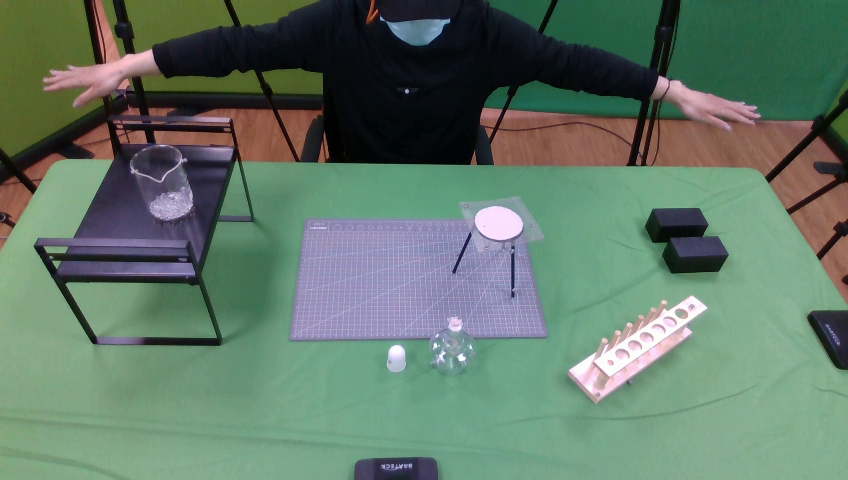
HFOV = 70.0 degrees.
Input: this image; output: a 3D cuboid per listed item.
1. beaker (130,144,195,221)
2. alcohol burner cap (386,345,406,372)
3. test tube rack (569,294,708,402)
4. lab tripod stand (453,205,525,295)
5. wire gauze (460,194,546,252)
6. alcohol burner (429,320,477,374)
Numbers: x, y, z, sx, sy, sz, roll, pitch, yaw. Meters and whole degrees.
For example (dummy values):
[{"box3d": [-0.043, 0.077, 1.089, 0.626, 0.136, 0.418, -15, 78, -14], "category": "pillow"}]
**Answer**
[{"box3d": [-0.403, -0.085, 0.944, 0.074, 0.101, 0.083, -15, 50, -17], "category": "beaker"}, {"box3d": [-0.046, 0.192, 0.995, 0.034, 0.048, 0.033, 3, 46, -3], "category": "alcohol burner cap"}, {"box3d": [0.360, 0.167, 1.014, 0.242, 0.085, 0.066, -25, 53, -25], "category": "test tube rack"}, {"box3d": [0.131, 0.010, 1.111, 0.148, 0.132, 0.147, 1, 45, -1], "category": "lab tripod stand"}, {"box3d": [0.136, -0.035, 1.061, 0.121, 0.011, 0.124, -9, 46, -12], "category": "wire gauze"}, {"box3d": [0.048, 0.164, 0.977, 0.078, 0.120, 0.077, 2, 48, -2], "category": "alcohol burner"}]
